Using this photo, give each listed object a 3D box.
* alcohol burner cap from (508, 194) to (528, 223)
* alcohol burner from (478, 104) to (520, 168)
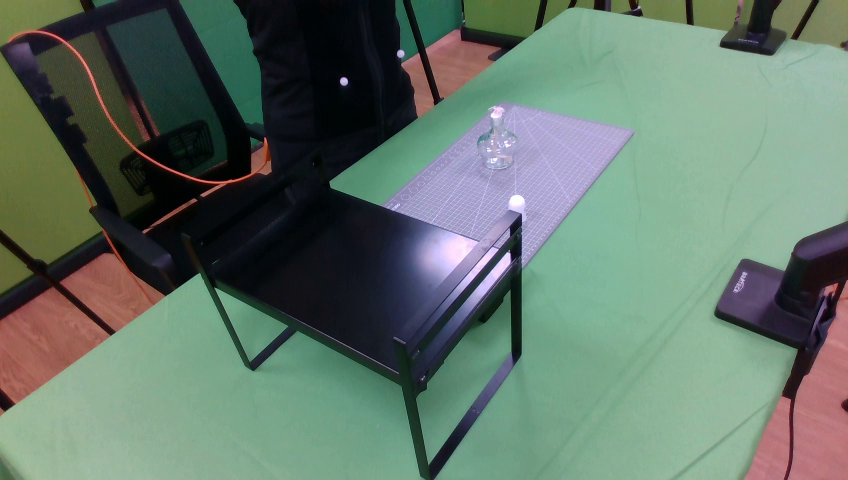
[{"bbox_3d":[0.155,-0.054,0.996,0.034,0.048,0.033,-4,39,4],"label":"alcohol burner cap"},{"bbox_3d":[0.137,-0.193,1.106,0.078,0.119,0.077,-5,39,4],"label":"alcohol burner"}]
